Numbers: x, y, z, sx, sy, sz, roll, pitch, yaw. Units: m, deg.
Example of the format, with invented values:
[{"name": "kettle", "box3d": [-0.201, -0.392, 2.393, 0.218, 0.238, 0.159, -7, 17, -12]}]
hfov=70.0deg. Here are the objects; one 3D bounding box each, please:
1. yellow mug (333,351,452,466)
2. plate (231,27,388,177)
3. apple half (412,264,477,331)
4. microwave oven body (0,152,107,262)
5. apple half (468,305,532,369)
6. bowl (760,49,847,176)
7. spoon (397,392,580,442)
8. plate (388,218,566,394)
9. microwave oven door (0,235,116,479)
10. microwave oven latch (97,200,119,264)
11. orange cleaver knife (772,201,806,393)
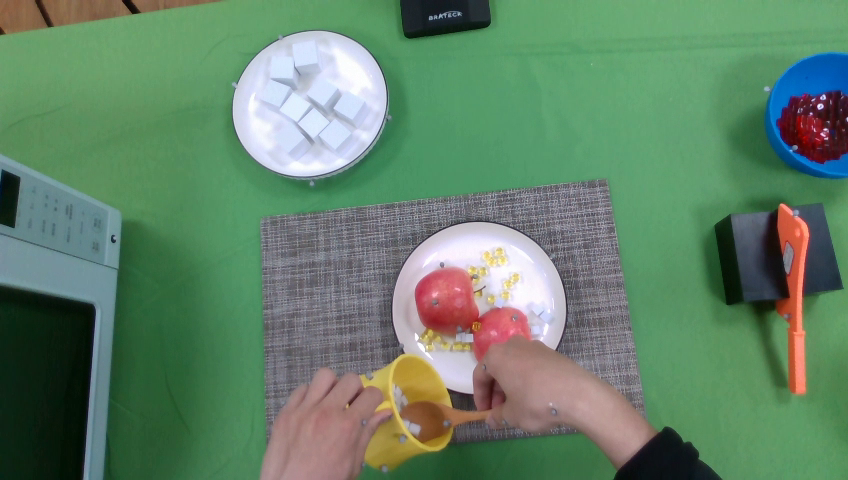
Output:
[{"name": "yellow mug", "box3d": [-0.035, 0.169, 0.602, 0.064, 0.132, 0.099, -31, 66, 28]}, {"name": "plate", "box3d": [-0.148, -0.180, 0.803, 0.207, 0.039, 0.206, -1, 78, 5]}, {"name": "apple half", "box3d": [0.023, 0.067, 0.716, 0.074, 0.053, 0.080, -9, 78, 6]}, {"name": "microwave oven body", "box3d": [-0.561, 0.149, 0.654, 0.326, 0.261, 0.439, -3, 78, 4]}, {"name": "apple half", "box3d": [0.089, 0.114, 0.709, 0.081, 0.033, 0.081, -2, 75, 6]}, {"name": "bowl", "box3d": [0.466, -0.138, 0.716, 0.151, 0.077, 0.150, -1, 78, 6]}, {"name": "spoon", "box3d": [0.056, 0.169, 0.584, 0.193, 0.022, 0.041, -16, 84, 29]}, {"name": "plate", "box3d": [0.062, 0.078, 0.725, 0.209, 0.038, 0.208, -1, 79, 5]}, {"name": "microwave oven door", "box3d": [-0.415, 0.182, 0.628, 0.039, 0.245, 0.354, -3, 77, 5]}, {"name": "microwave oven latch", "box3d": [-0.410, -0.010, 0.772, 0.030, 0.029, 0.079, -1, 79, 5]}, {"name": "orange cleaver knife", "box3d": [0.406, 0.064, 0.677, 0.012, 0.077, 0.212, -5, 101, 8]}]
